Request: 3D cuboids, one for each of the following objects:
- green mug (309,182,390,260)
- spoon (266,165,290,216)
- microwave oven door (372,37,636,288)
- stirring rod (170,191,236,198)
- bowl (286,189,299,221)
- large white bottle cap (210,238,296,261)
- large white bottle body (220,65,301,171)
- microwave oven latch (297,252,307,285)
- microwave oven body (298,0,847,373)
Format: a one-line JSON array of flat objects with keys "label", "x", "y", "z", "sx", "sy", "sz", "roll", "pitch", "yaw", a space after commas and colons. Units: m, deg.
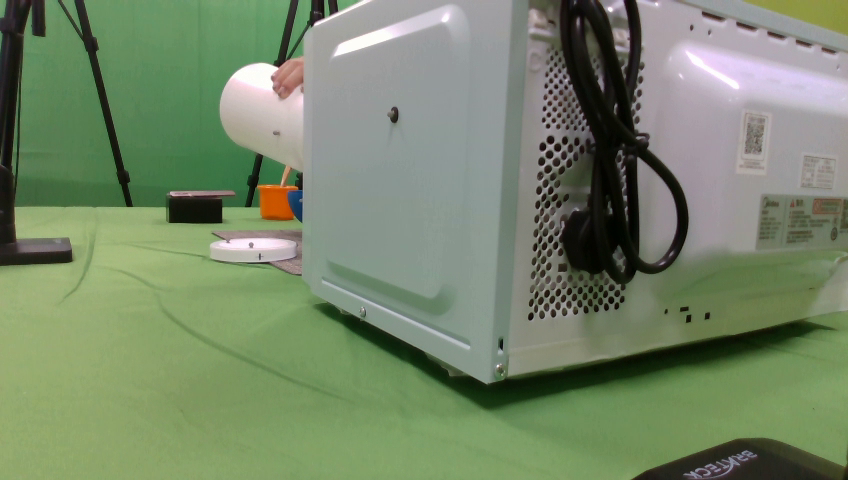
[{"label": "green mug", "x": -0.102, "y": -0.029, "z": 0.864, "sx": 0.126, "sy": 0.105, "sz": 0.092, "roll": -4, "pitch": 9, "yaw": -40}, {"label": "spoon", "x": -0.334, "y": -0.127, "z": 1.424, "sx": 0.041, "sy": 0.193, "sz": 0.022, "roll": 0, "pitch": -37, "yaw": 7}, {"label": "microwave oven door", "x": 0.110, "y": -0.080, "z": 0.687, "sx": 0.358, "sy": 0.243, "sz": 0.039, "roll": -2, "pitch": 9, "yaw": -33}, {"label": "stirring rod", "x": -0.465, "y": -0.098, "z": 1.283, "sx": 0.014, "sy": 0.006, "sz": 0.177, "roll": 42, "pitch": 21, "yaw": 17}, {"label": "bowl", "x": -0.179, "y": -0.051, "z": 1.115, "sx": 0.151, "sy": 0.077, "sz": 0.151, "roll": 3, "pitch": 8, "yaw": 0}, {"label": "large white bottle cap", "x": -0.236, "y": 0.013, "z": 0.839, "sx": 0.115, "sy": 0.018, "sz": 0.115, "roll": 2, "pitch": 7, "yaw": 0}, {"label": "large white bottle body", "x": -0.189, "y": -0.173, "z": 0.883, "sx": 0.184, "sy": 0.130, "sz": 0.131, "roll": 24, "pitch": 17, "yaw": 29}, {"label": "microwave oven latch", "x": -0.082, "y": 0.027, "z": 0.582, "sx": 0.079, "sy": 0.029, "sz": 0.030, "roll": -1, "pitch": 7, "yaw": -32}, {"label": "microwave oven body", "x": 0.151, "y": -0.055, "z": 0.543, "sx": 0.444, "sy": 0.260, "sz": 0.324, "roll": -1, "pitch": 8, "yaw": -33}]
